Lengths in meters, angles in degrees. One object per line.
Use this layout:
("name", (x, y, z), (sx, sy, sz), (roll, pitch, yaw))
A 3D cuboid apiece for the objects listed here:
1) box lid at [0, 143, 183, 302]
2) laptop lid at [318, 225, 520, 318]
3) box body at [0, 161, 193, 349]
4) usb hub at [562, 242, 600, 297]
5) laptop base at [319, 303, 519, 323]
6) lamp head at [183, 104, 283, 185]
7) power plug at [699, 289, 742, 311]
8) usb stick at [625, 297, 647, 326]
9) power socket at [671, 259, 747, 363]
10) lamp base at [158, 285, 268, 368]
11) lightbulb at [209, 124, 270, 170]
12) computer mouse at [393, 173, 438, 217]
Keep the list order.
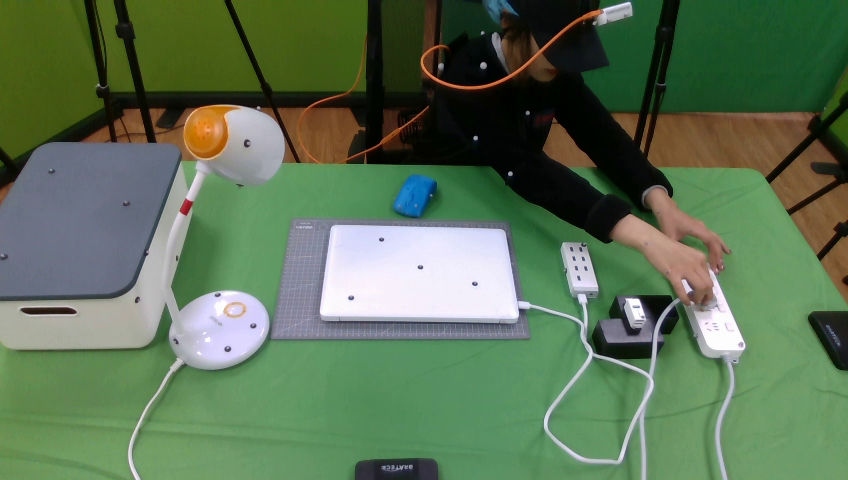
("box lid", (-0.567, -0.045, 0.999), (0.263, 0.015, 0.369), (-1, 46, -4))
("laptop lid", (-0.008, 0.053, 1.130), (0.357, 0.013, 0.240), (2, 44, -2))
("box body", (-0.570, 0.006, 1.054), (0.254, 0.161, 0.361), (-1, 46, -4))
("usb hub", (0.300, 0.055, 1.162), (0.049, 0.025, 0.124), (3, 45, -3))
("laptop base", (-0.009, 0.063, 1.137), (0.354, 0.023, 0.234), (1, 42, -3))
("lamp head", (-0.271, -0.133, 0.825), (0.112, 0.112, 0.123), (20, 8, 15))
("power plug", (0.517, 0.116, 1.066), (0.035, 0.053, 0.072), (-31, 51, -2))
("usb stick", (0.360, 0.117, 1.034), (0.021, 0.027, 0.059), (-1, 44, -3))
("power socket", (0.517, 0.120, 1.108), (0.072, 0.033, 0.225), (1, 46, -1))
("lamp base", (-0.347, 0.102, 0.963), (0.160, 0.181, 0.178), (23, 51, 18))
("lightbulb", (-0.260, -0.135, 0.847), (0.059, 0.108, 0.059), (-4, 79, 20))
("computer mouse", (-0.018, -0.098, 1.282), (0.062, 0.041, 0.117), (20, 52, 13))
